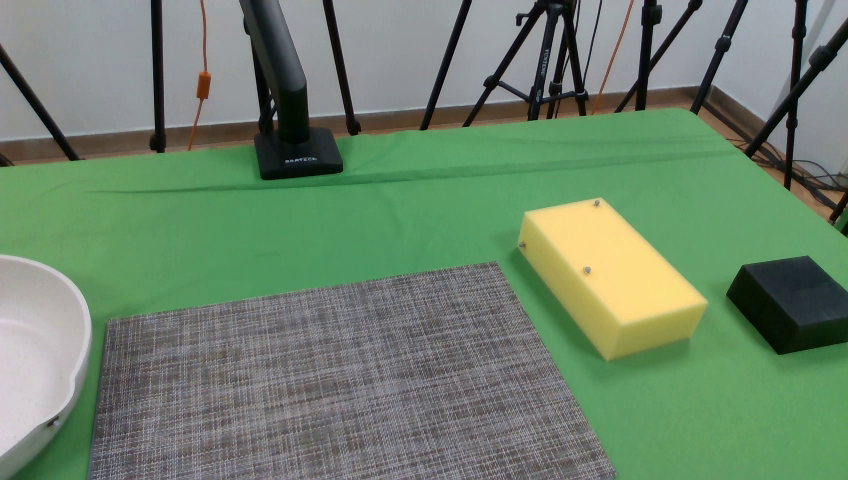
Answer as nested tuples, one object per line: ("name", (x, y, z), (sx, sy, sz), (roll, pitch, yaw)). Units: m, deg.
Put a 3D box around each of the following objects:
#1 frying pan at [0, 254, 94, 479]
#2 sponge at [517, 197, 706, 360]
("frying pan", (-0.466, 0.180, 0.446), (0.306, 0.103, 0.485), (11, 32, 7))
("sponge", (0.216, 0.037, 0.732), (0.118, 0.061, 0.204), (-11, 43, -20))
